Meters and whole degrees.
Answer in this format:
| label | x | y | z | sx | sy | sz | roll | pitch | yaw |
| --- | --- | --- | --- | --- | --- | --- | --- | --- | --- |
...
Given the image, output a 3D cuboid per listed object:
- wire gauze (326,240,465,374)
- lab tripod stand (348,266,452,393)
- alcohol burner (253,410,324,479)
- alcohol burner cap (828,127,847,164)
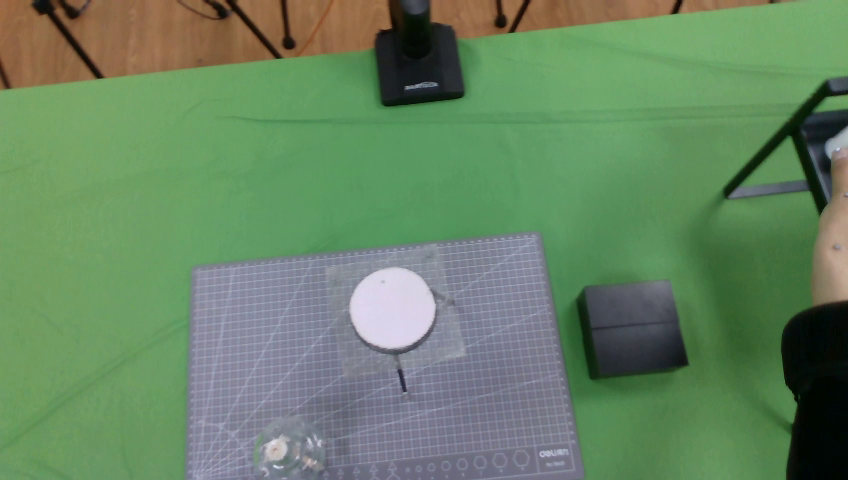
| label | x | y | z | sx | sy | sz | roll | pitch | yaw |
| --- | --- | --- | --- | --- | --- | --- | --- | --- | --- |
| wire gauze | -0.031 | 0.067 | 0.615 | 0.125 | 0.011 | 0.120 | -11 | 71 | -4 |
| lab tripod stand | -0.027 | 0.087 | 0.678 | 0.148 | 0.132 | 0.147 | 0 | 68 | 1 |
| alcohol burner | -0.147 | 0.219 | 0.645 | 0.078 | 0.120 | 0.077 | 0 | 69 | 0 |
| alcohol burner cap | 0.426 | -0.099 | 0.594 | 0.034 | 0.048 | 0.033 | -1 | 71 | 3 |
